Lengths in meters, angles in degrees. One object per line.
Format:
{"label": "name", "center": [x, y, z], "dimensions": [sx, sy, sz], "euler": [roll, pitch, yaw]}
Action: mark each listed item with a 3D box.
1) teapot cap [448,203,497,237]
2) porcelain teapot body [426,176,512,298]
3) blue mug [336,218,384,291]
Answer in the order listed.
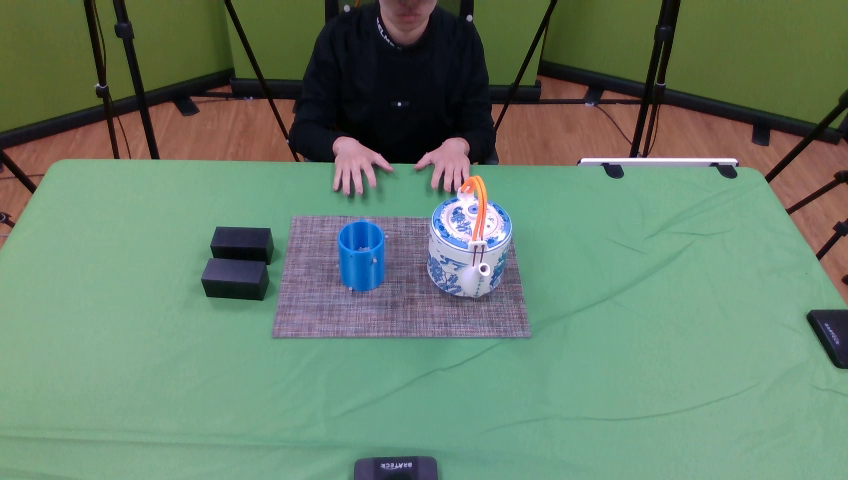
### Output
{"label": "teapot cap", "center": [0.084, -0.038, 1.041], "dimensions": [0.085, 0.044, 0.084], "euler": [0, 48, 0]}
{"label": "porcelain teapot body", "center": [0.085, 0.009, 1.051], "dimensions": [0.145, 0.226, 0.204], "euler": [-5, 47, -9]}
{"label": "blue mug", "center": [-0.115, 0.018, 1.110], "dimensions": [0.082, 0.106, 0.116], "euler": [1, 46, -3]}
